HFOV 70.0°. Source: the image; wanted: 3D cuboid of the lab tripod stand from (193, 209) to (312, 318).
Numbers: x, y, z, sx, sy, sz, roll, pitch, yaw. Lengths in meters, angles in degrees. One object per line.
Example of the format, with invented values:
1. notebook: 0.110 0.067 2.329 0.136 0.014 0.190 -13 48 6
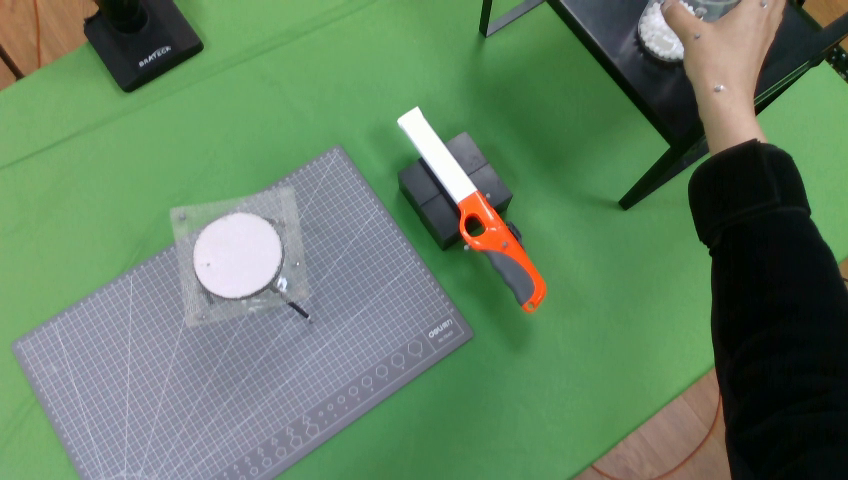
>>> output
1. lab tripod stand: -0.186 0.024 0.663 0.148 0.132 0.147 0 74 0

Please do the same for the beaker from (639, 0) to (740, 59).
1. beaker: 0.251 -0.226 0.573 0.084 0.101 0.073 22 76 5

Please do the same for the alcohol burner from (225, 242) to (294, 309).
1. alcohol burner: -0.186 0.036 0.670 0.078 0.119 0.077 0 77 -1

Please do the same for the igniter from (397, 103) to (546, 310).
1. igniter: 0.055 -0.042 0.696 0.057 0.025 0.275 -33 78 -4

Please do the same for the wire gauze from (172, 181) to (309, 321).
1. wire gauze: -0.180 0.008 0.598 0.121 0.011 0.124 -11 75 -4
